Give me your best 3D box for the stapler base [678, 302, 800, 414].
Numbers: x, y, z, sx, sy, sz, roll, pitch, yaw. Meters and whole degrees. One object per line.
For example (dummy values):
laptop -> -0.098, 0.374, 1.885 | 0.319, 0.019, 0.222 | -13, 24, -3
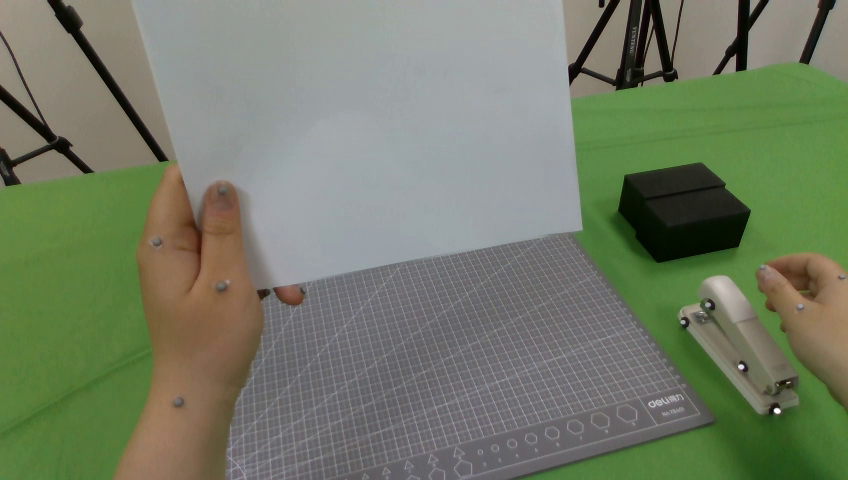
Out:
stapler base -> 0.283, 0.097, 0.550 | 0.041, 0.024, 0.129 | -12, 41, -10

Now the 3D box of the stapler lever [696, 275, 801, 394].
stapler lever -> 0.283, 0.078, 0.533 | 0.027, 0.040, 0.116 | -12, 41, -10
